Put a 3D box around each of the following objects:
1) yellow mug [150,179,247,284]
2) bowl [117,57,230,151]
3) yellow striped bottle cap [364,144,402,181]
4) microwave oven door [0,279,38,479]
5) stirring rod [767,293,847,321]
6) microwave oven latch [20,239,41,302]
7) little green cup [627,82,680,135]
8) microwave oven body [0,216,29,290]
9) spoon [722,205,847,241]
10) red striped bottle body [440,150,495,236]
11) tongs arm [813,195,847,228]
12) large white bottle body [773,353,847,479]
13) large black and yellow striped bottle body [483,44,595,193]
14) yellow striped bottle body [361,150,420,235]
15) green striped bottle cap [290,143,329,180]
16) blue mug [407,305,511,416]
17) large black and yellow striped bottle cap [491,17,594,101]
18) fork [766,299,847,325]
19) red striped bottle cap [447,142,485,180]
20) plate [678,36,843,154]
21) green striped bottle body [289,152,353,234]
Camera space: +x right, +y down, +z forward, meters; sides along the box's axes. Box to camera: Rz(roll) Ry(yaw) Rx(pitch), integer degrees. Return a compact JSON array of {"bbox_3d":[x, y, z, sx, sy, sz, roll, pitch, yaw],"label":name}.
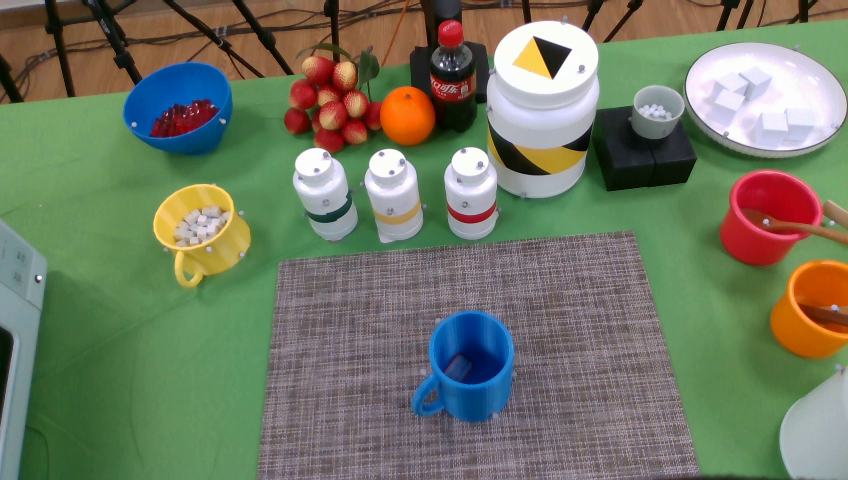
[{"bbox_3d":[-0.287,-0.006,0.763,0.100,0.064,0.130,4,59,7],"label":"yellow mug"},{"bbox_3d":[-0.344,-0.182,0.870,0.151,0.077,0.150,-2,58,4],"label":"bowl"},{"bbox_3d":[-0.047,-0.090,0.700,0.044,0.019,0.044,0,55,0],"label":"yellow striped bottle cap"},{"bbox_3d":[-0.460,0.165,0.548,0.039,0.246,0.352,-13,58,-2],"label":"microwave oven door"},{"bbox_3d":[0.425,0.077,0.605,0.014,0.006,0.175,-27,18,-17],"label":"stirring rod"},{"bbox_3d":[-0.495,0.040,0.749,0.030,0.030,0.078,-12,59,-3],"label":"microwave oven latch"},{"bbox_3d":[0.288,-0.165,0.766,0.061,0.039,0.061,-1,56,2],"label":"little green cup"},{"bbox_3d":[-0.611,0.166,0.567,0.326,0.262,0.437,-12,59,-3],"label":"microwave oven body"},{"bbox_3d":[0.404,-0.017,0.663,0.042,0.192,0.022,-20,103,-11],"label":"spoon"},{"bbox_3d":[0.054,-0.062,0.736,0.063,0.121,0.062,-4,57,6],"label":"red striped bottle body"},{"bbox_3d":[0.619,0.057,0.661,0.051,0.027,0.381,-36,63,-20],"label":"tongs arm"},{"bbox_3d":[0.407,0.161,0.527,0.130,0.186,0.129,-2,58,4],"label":"large white bottle body"},{"bbox_3d":[0.138,-0.160,0.751,0.131,0.185,0.129,-2,58,4],"label":"large black and yellow striped bottle body"},{"bbox_3d":[-0.041,-0.063,0.744,0.063,0.121,0.062,-3,57,5],"label":"yellow striped bottle body"},{"bbox_3d":[-0.134,-0.092,0.709,0.044,0.020,0.044,-1,57,3],"label":"green striped bottle cap"},{"bbox_3d":[0.033,0.135,0.620,0.116,0.107,0.081,-32,60,-14],"label":"blue mug"},{"bbox_3d":[0.132,-0.204,0.677,0.115,0.019,0.114,-4,59,6],"label":"large black and yellow striped bottle cap"},{"bbox_3d":[0.455,0.061,0.607,0.207,0.019,0.028,-21,42,47],"label":"fork"},{"bbox_3d":[0.048,-0.091,0.692,0.044,0.018,0.044,0,57,0],"label":"red striped bottle cap"},{"bbox_3d":[0.453,-0.196,0.831,0.209,0.038,0.207,-2,59,4],"label":"plate"},{"bbox_3d":[-0.128,-0.064,0.753,0.063,0.120,0.062,-2,58,4],"label":"green striped bottle body"}]
